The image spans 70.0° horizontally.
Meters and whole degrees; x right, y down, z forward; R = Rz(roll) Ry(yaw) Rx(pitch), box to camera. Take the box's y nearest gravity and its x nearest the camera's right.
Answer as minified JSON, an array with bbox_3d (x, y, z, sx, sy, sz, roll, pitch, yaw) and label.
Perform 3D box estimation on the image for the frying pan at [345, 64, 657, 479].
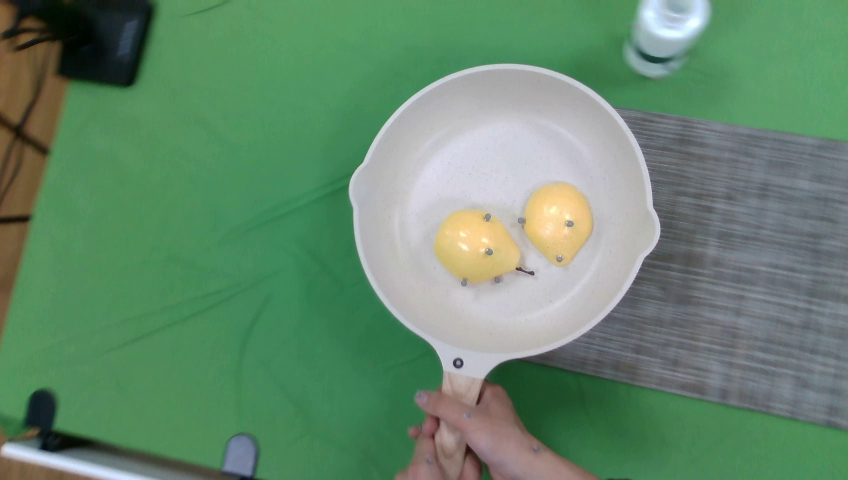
[{"bbox_3d":[0.049,0.071,0.596,0.306,0.103,0.486,11,78,14],"label":"frying pan"}]

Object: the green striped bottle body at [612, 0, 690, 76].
[{"bbox_3d":[0.238,-0.226,0.638,0.063,0.120,0.063,-1,82,9],"label":"green striped bottle body"}]

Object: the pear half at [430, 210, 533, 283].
[{"bbox_3d":[0.062,0.012,0.624,0.109,0.056,0.076,21,94,10],"label":"pear half"}]

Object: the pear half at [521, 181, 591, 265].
[{"bbox_3d":[0.135,-0.020,0.623,0.070,0.031,0.087,-7,79,16],"label":"pear half"}]
